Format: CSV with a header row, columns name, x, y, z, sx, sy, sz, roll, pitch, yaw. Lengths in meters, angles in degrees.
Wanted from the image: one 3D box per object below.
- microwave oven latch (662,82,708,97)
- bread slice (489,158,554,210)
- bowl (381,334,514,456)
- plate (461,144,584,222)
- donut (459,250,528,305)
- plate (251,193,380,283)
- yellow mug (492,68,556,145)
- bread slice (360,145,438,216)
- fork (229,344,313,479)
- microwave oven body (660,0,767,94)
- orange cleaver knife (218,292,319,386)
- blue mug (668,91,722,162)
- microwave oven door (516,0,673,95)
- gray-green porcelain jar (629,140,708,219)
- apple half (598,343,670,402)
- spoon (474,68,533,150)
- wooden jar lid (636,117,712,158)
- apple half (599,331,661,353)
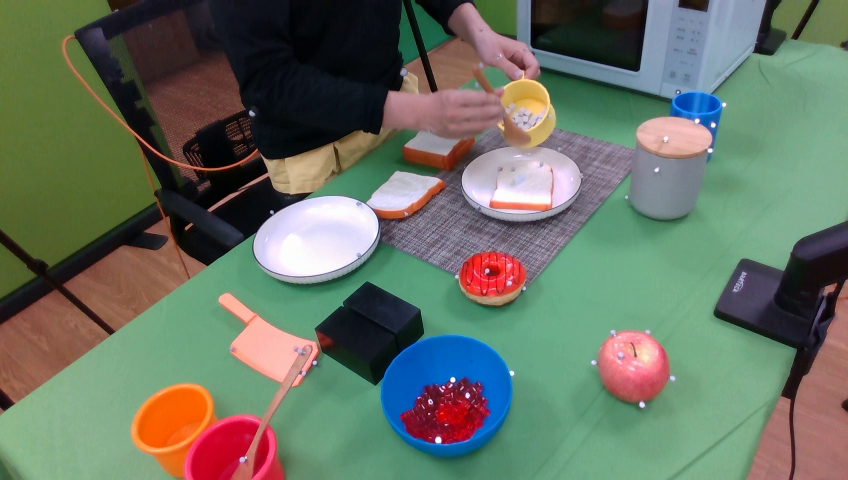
name,x,y,z,sx,sy,sz,roll,pitch,yaw
microwave oven latch,0.518,-0.298,1.202,0.078,0.029,0.030,28,53,35
bread slice,0.173,-0.099,1.048,0.104,0.019,0.131,5,44,12
bowl,0.029,0.192,0.701,0.151,0.077,0.150,-4,40,4
plate,0.168,-0.095,1.040,0.207,0.039,0.206,-4,41,4
donut,0.101,0.053,0.873,0.099,0.048,0.098,-5,40,5
plate,-0.173,-0.001,0.985,0.209,0.038,0.208,-4,41,4
yellow mug,0.175,-0.237,1.052,0.099,0.064,0.130,-4,74,20
bread slice,-0.053,-0.103,1.046,0.106,0.018,0.134,19,66,23
fork,-0.173,0.205,0.662,0.028,0.019,0.207,29,94,36
microwave oven body,0.474,-0.516,1.313,0.438,0.261,0.327,26,51,34
orange cleaver knife,-0.235,0.136,0.850,0.209,0.012,0.077,25,56,30
blue mug,0.474,-0.207,1.078,0.082,0.106,0.116,4,42,13
microwave oven door,0.344,-0.458,1.257,0.353,0.245,0.039,26,52,33
gray-green porcelain jar,0.383,-0.105,0.958,0.106,0.127,0.105,-4,41,4
apple half,0.247,0.161,0.710,0.081,0.075,0.053,2,47,5
spoon,0.118,-0.194,0.917,0.041,0.195,0.021,-9,54,29
wooden jar lid,0.377,-0.151,0.917,0.108,0.021,0.108,-2,42,2
apple half,0.249,0.134,0.738,0.081,0.081,0.032,-1,46,7
